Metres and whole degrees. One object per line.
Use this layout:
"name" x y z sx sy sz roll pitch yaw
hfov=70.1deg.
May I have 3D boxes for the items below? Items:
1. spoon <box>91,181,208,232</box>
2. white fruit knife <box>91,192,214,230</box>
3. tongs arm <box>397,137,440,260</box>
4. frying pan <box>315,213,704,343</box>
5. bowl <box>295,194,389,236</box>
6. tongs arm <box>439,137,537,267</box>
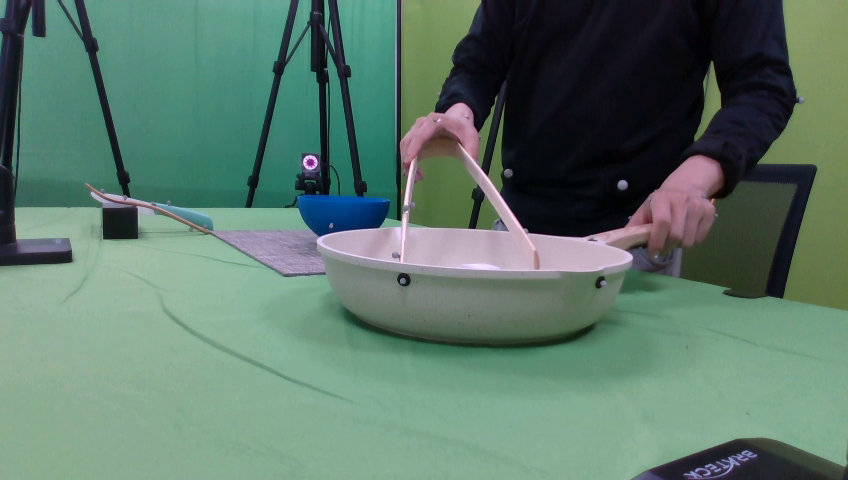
"spoon" -0.461 -0.053 1.023 0.195 0.021 0.041 22 25 -24
"white fruit knife" -0.477 -0.055 1.077 0.208 0.027 0.016 15 -5 -30
"tongs arm" 0.000 -0.053 0.692 0.051 0.026 0.384 -5 25 2
"frying pan" 0.133 0.014 0.629 0.490 0.102 0.305 -11 14 -29
"bowl" -0.132 -0.032 0.980 0.151 0.077 0.151 2 7 0
"tongs arm" 0.064 -0.058 0.694 0.028 0.028 0.386 -12 26 -4
